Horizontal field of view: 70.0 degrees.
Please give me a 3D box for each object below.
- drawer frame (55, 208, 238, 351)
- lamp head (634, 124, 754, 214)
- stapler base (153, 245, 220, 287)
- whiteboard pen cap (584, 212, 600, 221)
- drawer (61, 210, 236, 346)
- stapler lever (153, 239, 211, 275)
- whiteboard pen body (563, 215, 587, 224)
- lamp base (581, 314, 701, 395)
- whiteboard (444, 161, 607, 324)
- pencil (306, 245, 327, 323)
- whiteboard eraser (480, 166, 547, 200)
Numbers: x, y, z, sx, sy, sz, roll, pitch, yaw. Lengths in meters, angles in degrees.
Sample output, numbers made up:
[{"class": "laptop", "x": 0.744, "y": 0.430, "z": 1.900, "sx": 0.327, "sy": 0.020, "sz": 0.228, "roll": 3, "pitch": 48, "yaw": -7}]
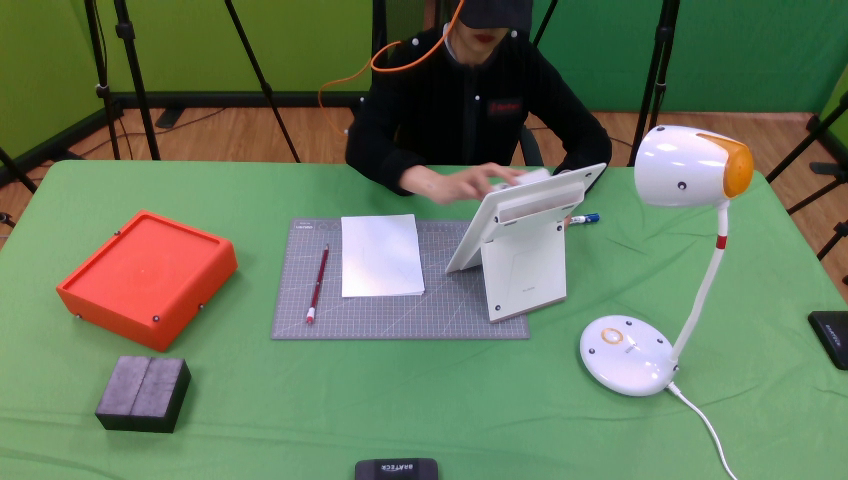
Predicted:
[{"class": "drawer frame", "x": -0.474, "y": 0.062, "z": 1.059, "sx": 0.201, "sy": 0.083, "sz": 0.213, "roll": 18, "pitch": 48, "yaw": 12}, {"class": "lamp head", "x": 0.351, "y": -0.089, "z": 0.775, "sx": 0.112, "sy": 0.113, "sz": 0.122, "roll": -30, "pitch": 30, "yaw": -28}, {"class": "stapler base", "x": -0.436, "y": 0.042, "z": 1.108, "sx": 0.130, "sy": 0.024, "sz": 0.041, "roll": 23, "pitch": 50, "yaw": 15}, {"class": "whiteboard pen cap", "x": 0.351, "y": -0.048, "z": 1.271, "sx": 0.033, "sy": 0.018, "sz": 0.018, "roll": -6, "pitch": 47, "yaw": -11}, {"class": "drawer", "x": -0.474, "y": 0.061, "z": 1.063, "sx": 0.194, "sy": 0.073, "sz": 0.211, "roll": 19, "pitch": 49, "yaw": 13}, {"class": "stapler lever", "x": -0.436, "y": 0.027, "z": 1.090, "sx": 0.118, "sy": 0.040, "sz": 0.027, "roll": 24, "pitch": 50, "yaw": 14}, {"class": "whiteboard pen body", "x": 0.292, "y": -0.040, "z": 1.261, "sx": 0.141, "sy": 0.017, "sz": 0.017, "roll": -7, "pitch": 47, "yaw": -10}, {"class": "lamp base", "x": 0.361, "y": 0.144, "z": 0.973, "sx": 0.178, "sy": 0.181, "sz": 0.160, "roll": 34, "pitch": 53, "yaw": 23}, {"class": "whiteboard", "x": 0.185, "y": 0.025, "z": 1.028, "sx": 0.217, "sy": 0.306, "sz": 0.143, "roll": -15, "pitch": 68, "yaw": -18}, {"class": "pencil", "x": -0.196, "y": 0.076, "z": 1.115, "sx": 0.012, "sy": 0.012, "sz": 0.193, "roll": 4, "pitch": 44, "yaw": 0}, {"class": "whiteboard eraser", "x": 0.154, "y": -0.088, "z": 1.042, "sx": 0.113, "sy": 0.056, "sz": 0.041, "roll": -21, "pitch": 77, "yaw": -9}]
